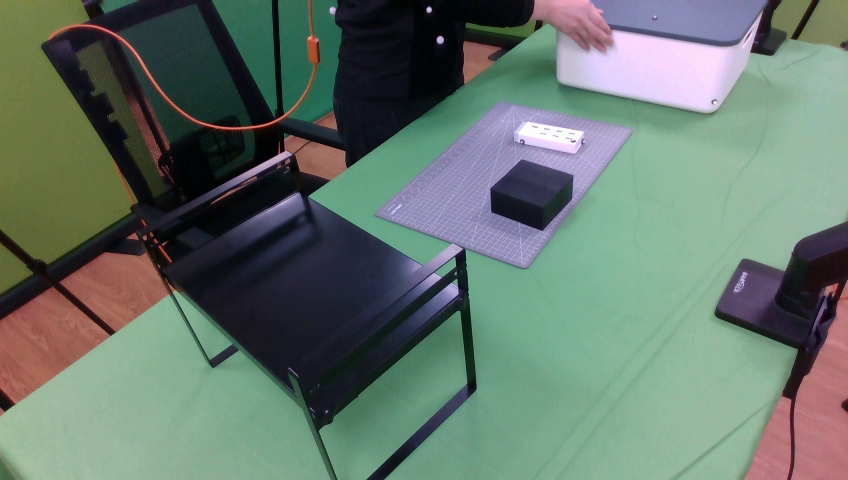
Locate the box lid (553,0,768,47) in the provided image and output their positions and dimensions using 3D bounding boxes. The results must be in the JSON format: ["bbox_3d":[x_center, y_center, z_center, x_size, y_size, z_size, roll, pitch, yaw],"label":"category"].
[{"bbox_3d":[0.477,-0.474,1.233,0.369,0.015,0.264,21,48,29],"label":"box lid"}]

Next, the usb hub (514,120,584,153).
[{"bbox_3d":[0.241,-0.200,1.165,0.124,0.025,0.049,17,46,26],"label":"usb hub"}]

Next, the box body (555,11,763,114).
[{"bbox_3d":[0.486,-0.418,1.281,0.361,0.161,0.255,21,48,29],"label":"box body"}]
